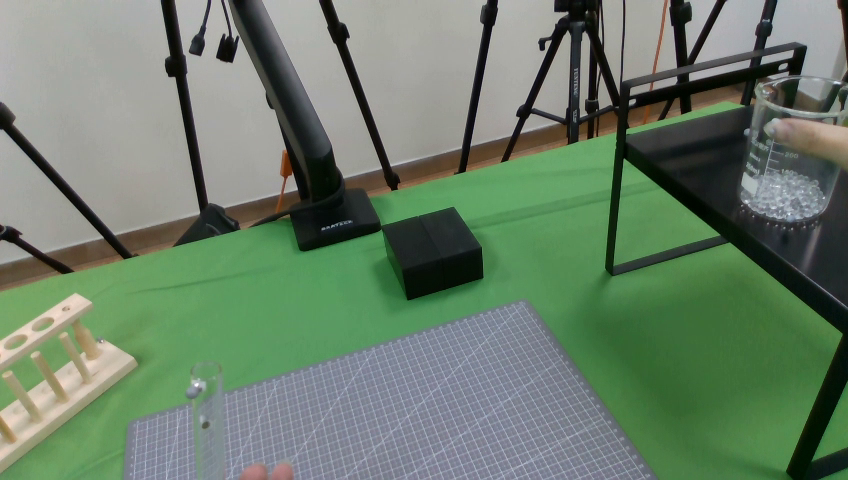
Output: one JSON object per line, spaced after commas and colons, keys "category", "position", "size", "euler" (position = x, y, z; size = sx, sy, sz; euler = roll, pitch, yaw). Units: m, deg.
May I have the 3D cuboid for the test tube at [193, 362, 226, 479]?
{"category": "test tube", "position": [-0.121, 0.133, 0.346], "size": [0.017, 0.151, 0.017], "euler": [7, 27, -3]}

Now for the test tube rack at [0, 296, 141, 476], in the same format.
{"category": "test tube rack", "position": [-0.423, 0.168, 0.609], "size": [0.066, 0.086, 0.242], "euler": [18, 42, 30]}

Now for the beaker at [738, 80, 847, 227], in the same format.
{"category": "beaker", "position": [0.297, -0.069, 0.488], "size": [0.074, 0.101, 0.083], "euler": [-19, 37, -16]}
